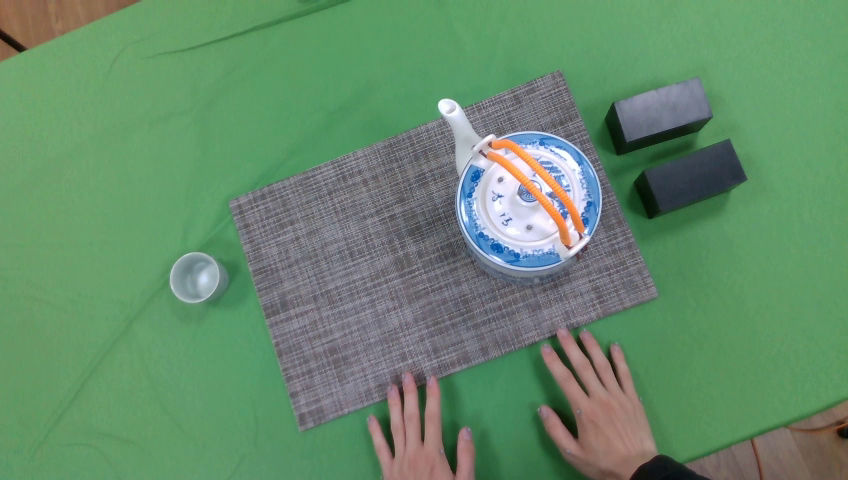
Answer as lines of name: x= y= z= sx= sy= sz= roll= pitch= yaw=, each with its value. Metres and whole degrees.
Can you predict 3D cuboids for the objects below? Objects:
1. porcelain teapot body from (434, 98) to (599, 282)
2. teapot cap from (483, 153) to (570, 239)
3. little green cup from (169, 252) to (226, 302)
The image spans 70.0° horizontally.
porcelain teapot body: x=0.083 y=-0.057 z=0.625 sx=0.145 sy=0.226 sz=0.204 roll=-44 pitch=79 yaw=-1
teapot cap: x=0.099 y=-0.044 z=0.581 sx=0.085 sy=0.044 sz=0.085 roll=-1 pitch=78 yaw=5
little green cup: x=-0.276 y=0.047 z=0.746 sx=0.061 sy=0.039 sz=0.061 roll=-1 pitch=80 yaw=7
